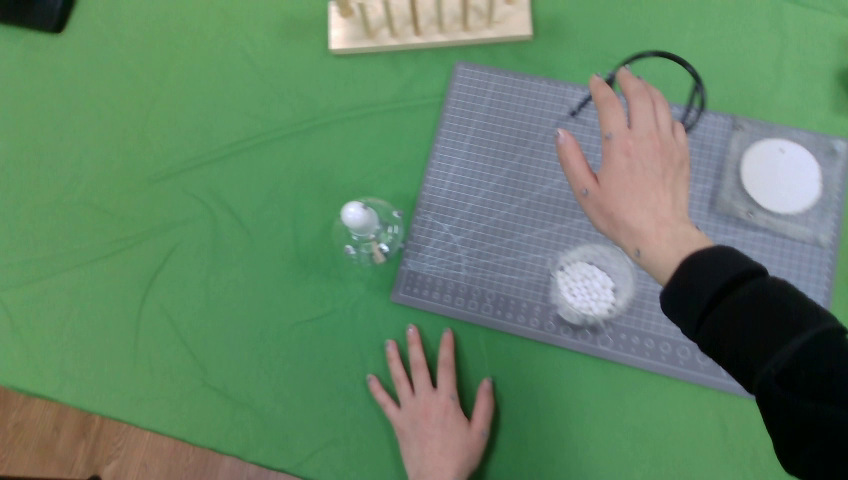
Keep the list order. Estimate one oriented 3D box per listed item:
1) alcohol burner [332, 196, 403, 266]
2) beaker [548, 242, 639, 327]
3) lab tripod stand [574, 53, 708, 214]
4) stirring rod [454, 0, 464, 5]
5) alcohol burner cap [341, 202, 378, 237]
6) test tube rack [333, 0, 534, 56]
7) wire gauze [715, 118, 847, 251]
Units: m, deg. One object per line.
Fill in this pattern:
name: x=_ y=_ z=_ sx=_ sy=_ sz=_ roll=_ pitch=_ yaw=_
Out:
alcohol burner: x=-0.062 y=-0.014 z=0.638 sx=0.078 sy=0.120 sz=0.077 roll=-1 pitch=75 yaw=4
beaker: x=0.161 y=0.048 z=0.608 sx=0.084 sy=0.101 sz=0.074 roll=20 pitch=79 yaw=10
lab tripod stand: x=0.224 y=-0.113 z=0.621 sx=0.148 sy=0.132 sz=0.147 roll=-1 pitch=79 yaw=4
stirring rod: x=0.042 y=-0.313 z=0.628 sx=0.014 sy=0.177 sz=0.006 roll=22 pitch=67 yaw=9
alcohol burner cap: x=-0.067 y=-0.023 z=0.603 sx=0.034 sy=0.048 sz=0.033 roll=-1 pitch=80 yaw=6
test tube rack: x=0.006 y=-0.273 z=0.703 sx=0.242 sy=0.085 sz=0.066 roll=-2 pitch=77 yaw=5
wire gauze: x=0.389 y=-0.064 z=0.659 sx=0.125 sy=0.011 sz=0.121 roll=19 pitch=80 yaw=6
